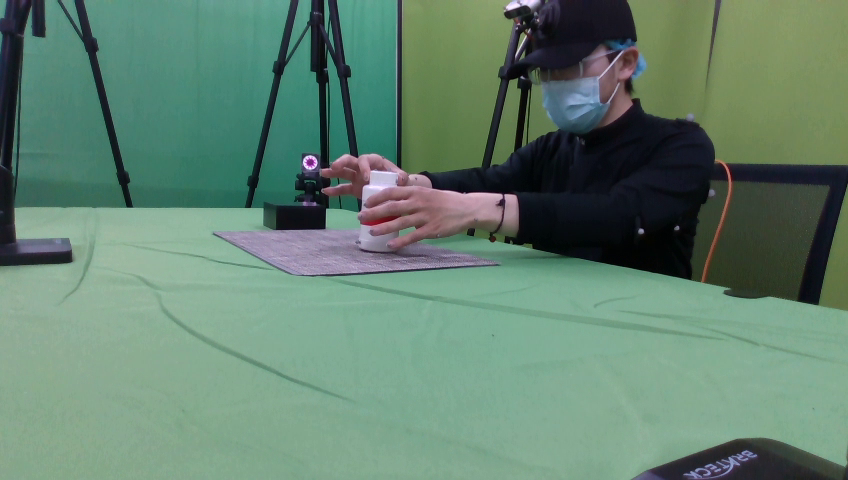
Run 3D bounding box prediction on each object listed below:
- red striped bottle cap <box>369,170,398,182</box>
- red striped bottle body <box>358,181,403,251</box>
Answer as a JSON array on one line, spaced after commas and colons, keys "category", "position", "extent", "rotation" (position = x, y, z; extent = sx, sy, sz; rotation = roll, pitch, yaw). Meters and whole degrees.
[{"category": "red striped bottle cap", "position": [-0.062, -0.098, 0.927], "extent": [0.044, 0.017, 0.044], "rotation": [2, 5, 0]}, {"category": "red striped bottle body", "position": [-0.066, -0.046, 0.933], "extent": [0.063, 0.119, 0.063], "rotation": [5, 7, 0]}]
